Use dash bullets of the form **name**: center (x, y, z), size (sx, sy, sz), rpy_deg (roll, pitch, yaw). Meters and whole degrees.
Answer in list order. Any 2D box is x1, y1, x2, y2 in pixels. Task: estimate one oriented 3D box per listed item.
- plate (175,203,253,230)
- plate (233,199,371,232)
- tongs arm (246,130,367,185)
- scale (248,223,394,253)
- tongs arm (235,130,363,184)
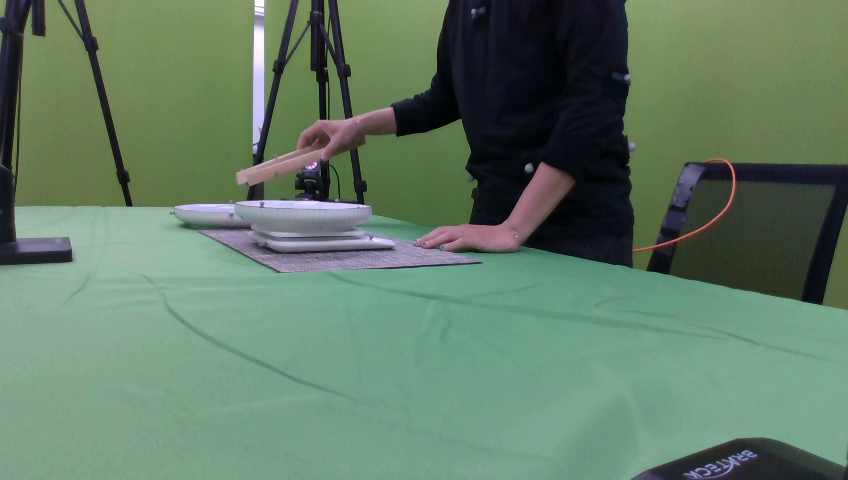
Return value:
- **plate**: center (-0.380, -0.047, 1.199), size (0.208, 0.039, 0.207), rpy_deg (2, 7, 0)
- **plate**: center (-0.188, -0.039, 0.939), size (0.209, 0.038, 0.209), rpy_deg (2, 7, 0)
- **tongs arm**: center (-0.242, -0.188, 1.331), size (0.028, 0.028, 0.389), rpy_deg (1, 21, 35)
- **scale**: center (-0.162, -0.006, 0.954), size (0.202, 0.031, 0.148), rpy_deg (-2, 8, -32)
- **tongs arm**: center (-0.261, -0.190, 1.344), size (0.050, 0.026, 0.386), rpy_deg (3, 23, 29)
